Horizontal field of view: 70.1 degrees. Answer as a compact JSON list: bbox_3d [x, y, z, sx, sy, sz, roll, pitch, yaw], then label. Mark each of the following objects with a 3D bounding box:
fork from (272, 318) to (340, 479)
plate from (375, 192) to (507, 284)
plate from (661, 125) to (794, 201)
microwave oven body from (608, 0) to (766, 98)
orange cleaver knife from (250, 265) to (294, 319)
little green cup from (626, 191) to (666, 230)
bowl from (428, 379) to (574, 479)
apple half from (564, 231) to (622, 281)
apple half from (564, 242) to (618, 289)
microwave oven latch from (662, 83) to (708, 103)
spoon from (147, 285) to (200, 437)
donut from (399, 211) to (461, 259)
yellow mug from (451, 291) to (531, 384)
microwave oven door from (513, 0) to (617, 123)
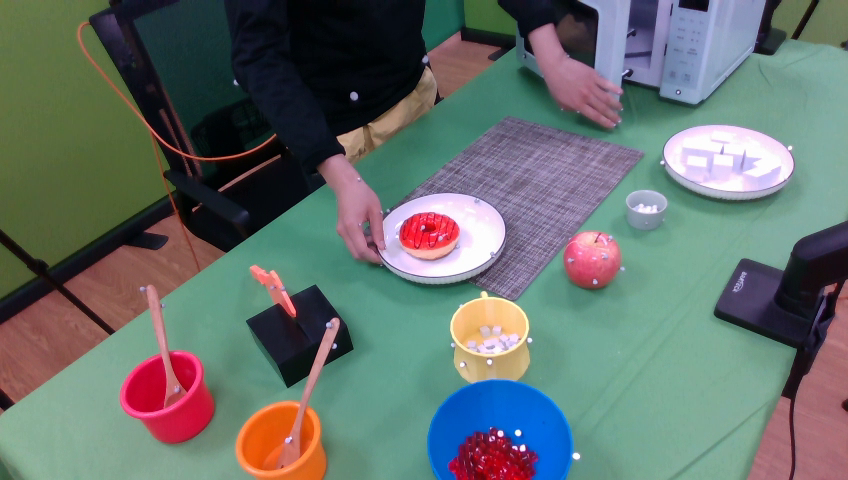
[{"bbox_3d":[-0.131,0.186,0.676,0.028,0.019,0.207,17,90,28],"label":"fork"},{"bbox_3d":[0.027,0.000,0.952,0.209,0.038,0.208,-4,40,4],"label":"plate"},{"bbox_3d":[0.514,-0.128,1.035,0.207,0.039,0.206,-4,40,4],"label":"plate"},{"bbox_3d":[0.472,-0.513,1.317,0.438,0.261,0.327,26,51,34],"label":"microwave oven body"},{"bbox_3d":[-0.221,0.073,0.876,0.012,0.077,0.210,-24,12,-22],"label":"orange cleaver knife"},{"bbox_3d":[0.352,-0.046,0.963,0.061,0.039,0.061,-4,40,4],"label":"little green cup"},{"bbox_3d":[0.082,0.233,0.645,0.151,0.077,0.150,-4,39,4],"label":"bowl"},{"bbox_3d":[0.248,0.021,0.874,0.080,0.075,0.053,13,40,28],"label":"apple half"},{"bbox_3d":[0.229,0.044,0.848,0.081,0.081,0.033,16,41,26],"label":"apple half"},{"bbox_3d":[0.518,-0.296,1.205,0.078,0.029,0.030,27,52,35],"label":"microwave oven latch"},{"bbox_3d":[-0.319,0.148,0.754,0.042,0.021,0.193,-15,85,-11],"label":"spoon"},{"bbox_3d":[0.009,-0.009,0.948,0.099,0.048,0.098,-4,39,4],"label":"donut"},{"bbox_3d":[0.085,0.120,0.786,0.100,0.064,0.130,-7,39,1],"label":"yellow mug"},{"bbox_3d":[0.283,-0.421,1.230,0.039,0.245,0.352,-20,42,-14],"label":"microwave oven door"}]
